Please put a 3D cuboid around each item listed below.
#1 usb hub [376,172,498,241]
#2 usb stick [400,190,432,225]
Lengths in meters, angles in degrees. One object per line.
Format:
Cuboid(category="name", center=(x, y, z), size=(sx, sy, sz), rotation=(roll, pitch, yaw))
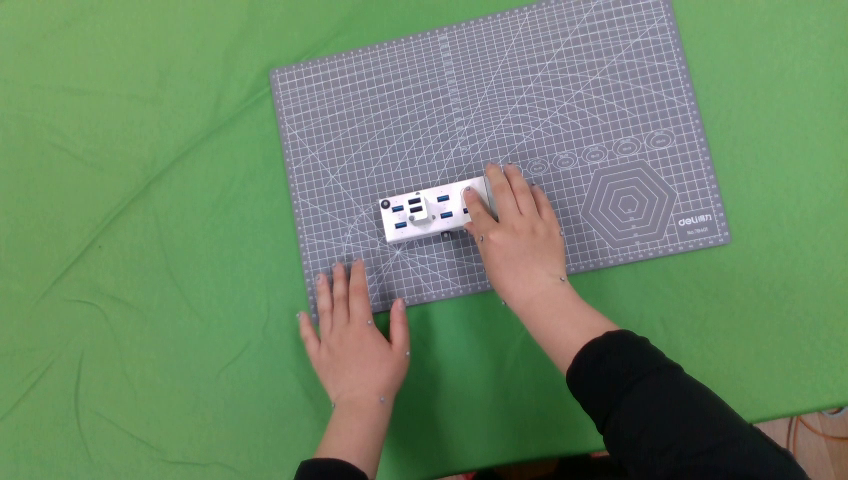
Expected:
Cuboid(category="usb hub", center=(0.013, -0.036, 0.649), size=(0.125, 0.025, 0.049), rotation=(-12, 83, 6))
Cuboid(category="usb stick", center=(-0.006, -0.032, 0.622), size=(0.021, 0.059, 0.027), rotation=(-17, 79, 7))
